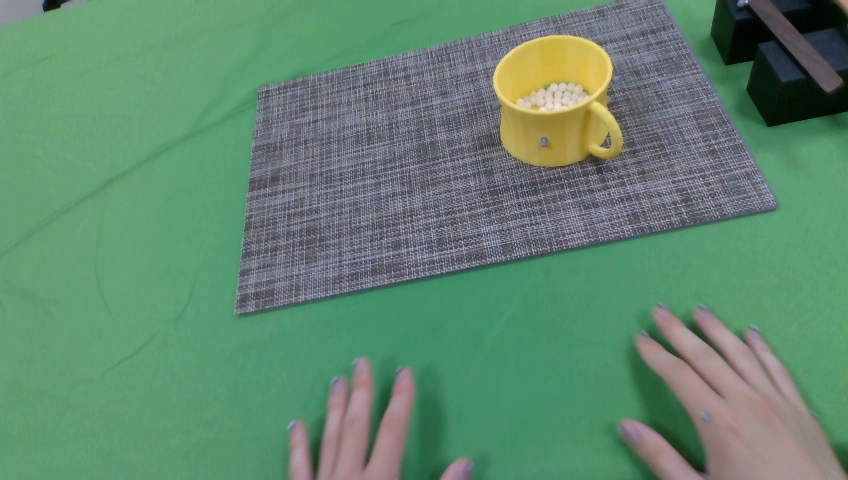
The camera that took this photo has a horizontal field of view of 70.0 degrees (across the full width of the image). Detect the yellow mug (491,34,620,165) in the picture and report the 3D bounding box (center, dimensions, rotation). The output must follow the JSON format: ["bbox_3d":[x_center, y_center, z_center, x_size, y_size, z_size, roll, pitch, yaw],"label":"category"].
[{"bbox_3d":[0.122,-0.116,0.531,0.100,0.064,0.129,-37,56,-12],"label":"yellow mug"}]

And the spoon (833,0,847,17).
[{"bbox_3d":[0.346,-0.189,0.497,0.041,0.022,0.192,-10,56,5],"label":"spoon"}]

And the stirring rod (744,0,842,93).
[{"bbox_3d":[0.295,-0.183,0.509,0.014,0.006,0.174,-40,45,33],"label":"stirring rod"}]
